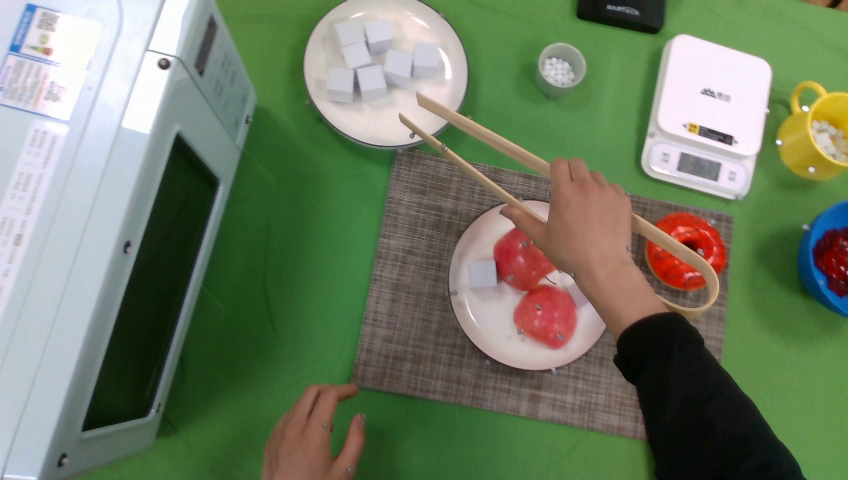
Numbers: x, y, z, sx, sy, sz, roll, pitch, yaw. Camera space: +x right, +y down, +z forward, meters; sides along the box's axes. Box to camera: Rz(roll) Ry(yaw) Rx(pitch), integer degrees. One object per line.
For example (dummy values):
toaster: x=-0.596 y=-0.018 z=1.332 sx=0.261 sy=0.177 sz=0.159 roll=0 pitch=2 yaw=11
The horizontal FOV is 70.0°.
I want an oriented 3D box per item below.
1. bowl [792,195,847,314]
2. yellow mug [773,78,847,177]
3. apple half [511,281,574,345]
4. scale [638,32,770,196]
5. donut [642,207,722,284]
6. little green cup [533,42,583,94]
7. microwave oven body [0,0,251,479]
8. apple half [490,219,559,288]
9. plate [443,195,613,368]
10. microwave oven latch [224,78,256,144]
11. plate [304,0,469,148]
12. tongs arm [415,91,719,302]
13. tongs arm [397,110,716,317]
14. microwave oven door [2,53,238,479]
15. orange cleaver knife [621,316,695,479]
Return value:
bowl: x=0.526 y=0.024 z=0.765 sx=0.151 sy=0.077 sz=0.151 roll=1 pitch=80 yaw=-5
yellow mug: x=0.523 y=-0.155 z=0.802 sx=0.100 sy=0.064 sz=0.130 roll=-21 pitch=82 yaw=-8
apple half: x=0.147 y=0.085 z=0.730 sx=0.081 sy=0.033 sz=0.081 roll=0 pitch=81 yaw=-1
scale: x=0.374 y=-0.169 z=0.808 sx=0.149 sy=0.031 sz=0.200 roll=15 pitch=79 yaw=-2
donut: x=0.322 y=0.007 z=0.763 sx=0.099 sy=0.048 sz=0.098 roll=1 pitch=80 yaw=-3
little green cup: x=0.173 y=-0.224 z=0.797 sx=0.061 sy=0.039 sz=0.061 roll=1 pitch=79 yaw=-5
microwave oven body: x=-0.403 y=-0.042 z=0.595 sx=0.326 sy=0.260 sz=0.440 roll=14 pitch=80 yaw=-3
apple half: x=0.123 y=0.012 z=0.731 sx=0.081 sy=0.053 sz=0.074 roll=-33 pitch=81 yaw=-10
plate: x=0.125 y=0.050 z=0.741 sx=0.209 sy=0.038 sz=0.208 roll=1 pitch=80 yaw=-5
microwave oven latch: x=-0.227 y=-0.158 z=0.729 sx=0.030 sy=0.029 sz=0.079 roll=16 pitch=80 yaw=-2
plate: x=-0.047 y=-0.214 z=0.775 sx=0.208 sy=0.039 sz=0.207 roll=1 pitch=80 yaw=-5
tongs arm: x=0.137 y=-0.058 z=0.643 sx=0.385 sy=0.028 sz=0.028 roll=36 pitch=71 yaw=19
tongs arm: x=0.123 y=-0.042 z=0.637 sx=0.382 sy=0.027 sz=0.050 roll=41 pitch=76 yaw=20
microwave oven door: x=-0.271 y=0.032 z=0.589 sx=0.039 sy=0.244 sz=0.354 roll=13 pitch=79 yaw=-2
orange cleaver knife: x=0.293 y=0.200 z=0.739 sx=0.077 sy=0.012 sz=0.210 roll=-6 pitch=79 yaw=-11
